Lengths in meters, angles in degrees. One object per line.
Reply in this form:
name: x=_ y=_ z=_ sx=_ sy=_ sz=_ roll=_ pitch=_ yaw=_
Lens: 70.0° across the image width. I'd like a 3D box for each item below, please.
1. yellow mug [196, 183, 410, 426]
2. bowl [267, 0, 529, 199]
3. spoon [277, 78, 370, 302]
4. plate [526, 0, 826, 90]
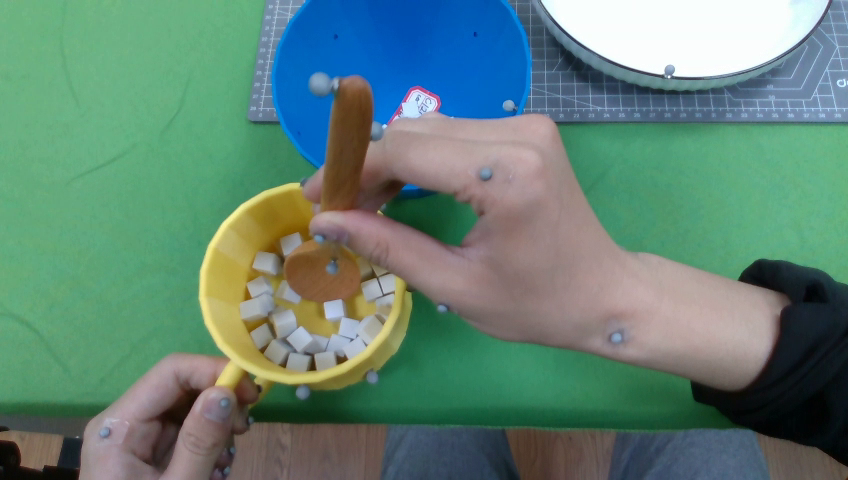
yellow mug: x=-0.067 y=0.040 z=0.316 sx=0.099 sy=0.064 sz=0.130 roll=32 pitch=78 yaw=9
bowl: x=-0.012 y=-0.087 z=0.381 sx=0.151 sy=0.077 sz=0.150 roll=-1 pitch=74 yaw=4
spoon: x=-0.040 y=-0.006 z=0.255 sx=0.042 sy=0.194 sz=0.021 roll=13 pitch=69 yaw=-9
plate: x=0.169 y=-0.190 z=0.427 sx=0.209 sy=0.038 sz=0.207 roll=-1 pitch=70 yaw=3
